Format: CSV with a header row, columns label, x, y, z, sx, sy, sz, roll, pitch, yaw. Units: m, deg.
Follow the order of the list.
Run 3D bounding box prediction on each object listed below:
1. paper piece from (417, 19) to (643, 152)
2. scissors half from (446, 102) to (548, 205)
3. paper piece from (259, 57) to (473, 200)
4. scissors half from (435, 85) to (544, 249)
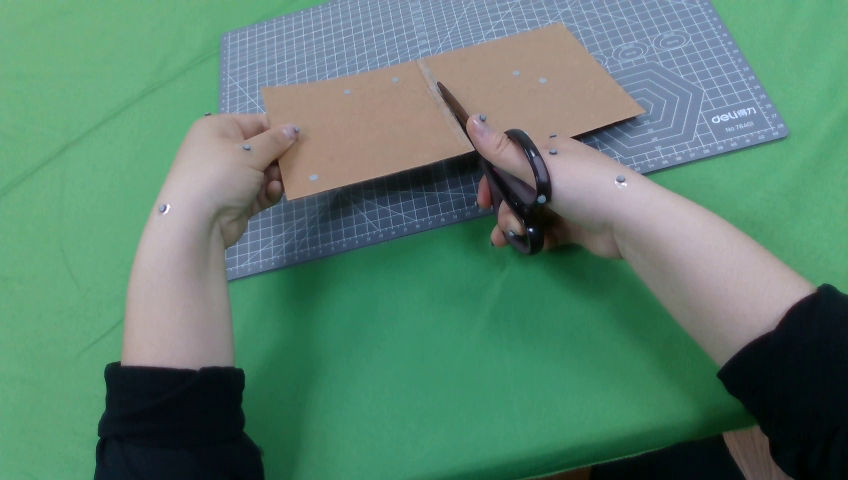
label,x,y,z,sx,sy,sz,roll,pitch,yaw
paper piece,0.081,-0.128,0.486,0.135,0.004,0.134,-19,54,-11
scissors half,0.039,-0.075,0.422,0.013,0.040,0.173,-15,33,-15
paper piece,-0.050,-0.091,0.457,0.138,0.009,0.134,-17,44,-7
scissors half,0.041,-0.060,0.437,0.013,0.040,0.173,-18,56,-11
